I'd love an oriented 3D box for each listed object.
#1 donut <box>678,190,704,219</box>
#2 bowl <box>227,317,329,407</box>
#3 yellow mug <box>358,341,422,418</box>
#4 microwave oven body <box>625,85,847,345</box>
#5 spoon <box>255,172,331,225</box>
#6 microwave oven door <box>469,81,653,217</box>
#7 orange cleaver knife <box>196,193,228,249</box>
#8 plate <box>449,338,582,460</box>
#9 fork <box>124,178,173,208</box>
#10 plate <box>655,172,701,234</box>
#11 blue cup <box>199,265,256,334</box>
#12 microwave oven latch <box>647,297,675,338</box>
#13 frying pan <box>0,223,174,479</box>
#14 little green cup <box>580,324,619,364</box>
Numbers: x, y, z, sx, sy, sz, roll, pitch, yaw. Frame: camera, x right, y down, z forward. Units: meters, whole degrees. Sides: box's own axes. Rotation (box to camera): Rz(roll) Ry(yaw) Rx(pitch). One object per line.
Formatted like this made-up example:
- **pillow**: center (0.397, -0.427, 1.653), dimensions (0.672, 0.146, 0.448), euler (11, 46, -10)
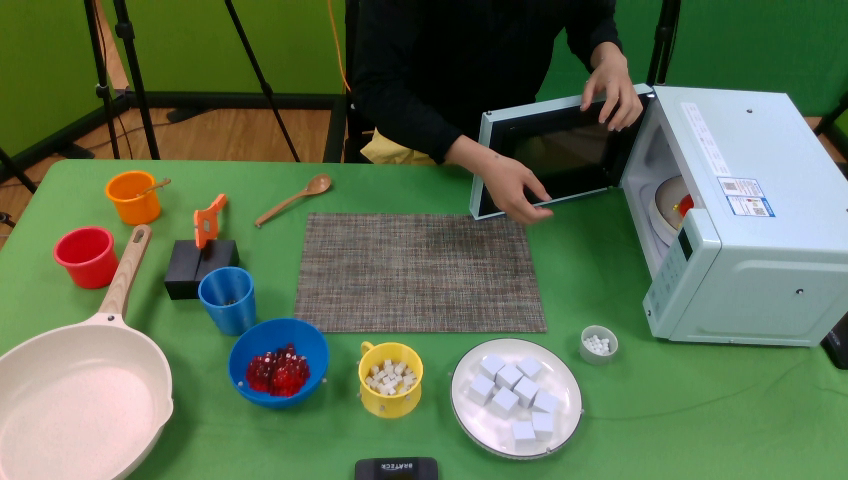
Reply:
- **donut**: center (0.543, -0.060, 1.173), dimensions (0.099, 0.048, 0.098), euler (1, 44, -1)
- **bowl**: center (-0.222, 0.203, 0.947), dimensions (0.151, 0.077, 0.150), euler (2, 46, -2)
- **yellow mug**: center (-0.063, 0.210, 0.961), dimensions (0.100, 0.064, 0.130), euler (-29, 54, -28)
- **microwave oven body**: center (0.568, -0.054, 1.116), dimensions (0.326, 0.261, 0.439), euler (2, 46, -1)
- **spoon**: center (-0.272, -0.087, 1.256), dimensions (0.041, 0.022, 0.193), euler (43, 57, 16)
- **microwave oven door**: center (0.270, -0.180, 1.207), dimensions (0.356, 0.245, 0.039), euler (-14, 49, -16)
- **orange cleaver knife**: center (-0.406, -0.041, 1.163), dimensions (0.012, 0.077, 0.210), euler (0, 18, -3)
- **plate**: center (0.141, 0.251, 0.955), dimensions (0.208, 0.039, 0.206), euler (2, 46, -2)
- **fork**: center (-0.525, -0.090, 1.154), dimensions (0.207, 0.019, 0.028), euler (-17, 27, 45)
- **plate**: center (0.556, -0.052, 1.186), dimensions (0.209, 0.038, 0.208), euler (2, 47, -2)
- **blue cup**: center (-0.321, 0.106, 1.014), dimensions (0.093, 0.101, 0.092), euler (2, 48, -2)
- **microwave oven latch**: center (0.413, 0.133, 1.060), dimensions (0.030, 0.029, 0.078), euler (5, 46, 2)
- **frying pan**: center (-0.504, 0.169, 0.941), dimensions (0.307, 0.103, 0.485), euler (5, 54, -1)
- **little green cup**: center (0.296, 0.179, 1.031), dimensions (0.061, 0.039, 0.061), euler (2, 45, -2)
